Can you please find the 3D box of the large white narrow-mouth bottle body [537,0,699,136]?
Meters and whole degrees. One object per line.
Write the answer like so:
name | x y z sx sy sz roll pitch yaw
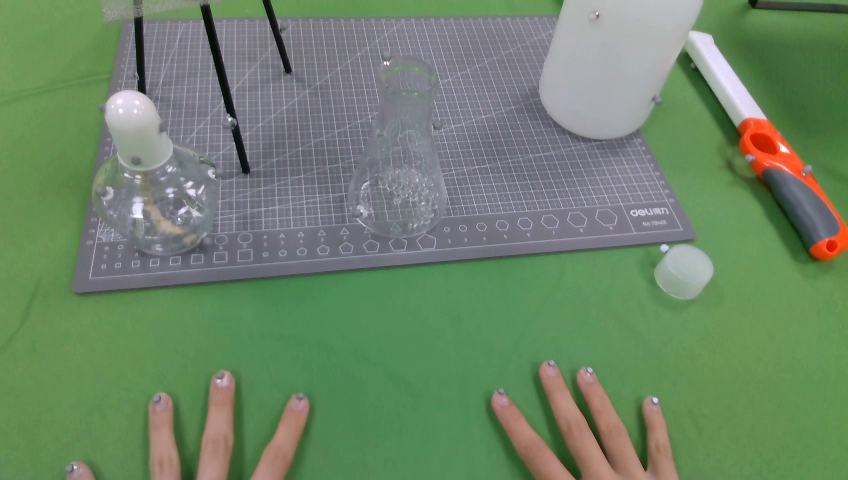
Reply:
large white narrow-mouth bottle body | 0.158 -0.183 0.478 0.102 0.196 0.101 3 53 -4

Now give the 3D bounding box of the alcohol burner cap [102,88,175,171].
alcohol burner cap | -0.169 -0.066 0.354 0.034 0.048 0.033 3 59 -5

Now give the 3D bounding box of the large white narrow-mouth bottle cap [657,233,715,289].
large white narrow-mouth bottle cap | 0.194 0.016 0.449 0.038 0.024 0.037 3 53 -4

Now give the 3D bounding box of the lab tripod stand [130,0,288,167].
lab tripod stand | -0.157 -0.149 0.449 0.149 0.132 0.147 5 54 -6

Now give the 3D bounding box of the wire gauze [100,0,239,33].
wire gauze | -0.154 -0.189 0.398 0.122 0.011 0.124 -17 62 -17

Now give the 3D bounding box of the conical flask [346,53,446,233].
conical flask | -0.016 -0.066 0.414 0.075 0.123 0.074 4 53 -4

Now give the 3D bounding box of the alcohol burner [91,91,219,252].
alcohol burner | -0.173 -0.046 0.384 0.078 0.120 0.077 5 52 -6

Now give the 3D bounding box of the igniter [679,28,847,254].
igniter | 0.296 -0.100 0.543 0.057 0.025 0.273 3 53 -19
